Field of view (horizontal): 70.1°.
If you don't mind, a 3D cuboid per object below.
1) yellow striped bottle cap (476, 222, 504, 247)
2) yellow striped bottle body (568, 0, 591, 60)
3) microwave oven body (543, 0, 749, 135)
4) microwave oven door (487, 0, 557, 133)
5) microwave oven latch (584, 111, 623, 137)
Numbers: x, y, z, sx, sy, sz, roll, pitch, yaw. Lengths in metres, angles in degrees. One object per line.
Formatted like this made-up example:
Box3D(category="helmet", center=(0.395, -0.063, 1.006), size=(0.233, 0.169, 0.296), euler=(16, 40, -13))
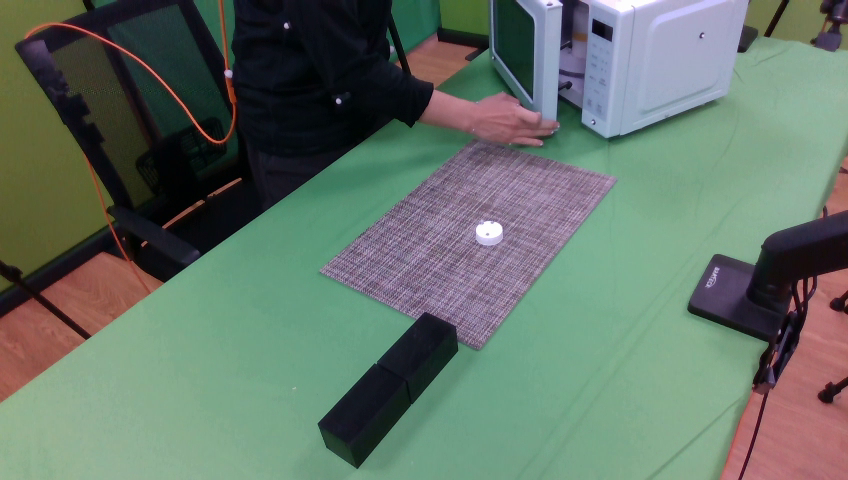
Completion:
Box3D(category="yellow striped bottle cap", center=(0.105, -0.010, 0.966), size=(0.044, 0.019, 0.044), euler=(-3, 39, 3))
Box3D(category="yellow striped bottle body", center=(0.337, -0.447, 1.269), size=(0.063, 0.121, 0.062), euler=(-4, 42, 4))
Box3D(category="microwave oven body", center=(0.381, -0.444, 1.246), size=(0.327, 0.261, 0.437), euler=(-22, 42, -16))
Box3D(category="microwave oven door", center=(0.193, -0.408, 1.223), size=(0.039, 0.245, 0.353), euler=(-12, 41, -6))
Box3D(category="microwave oven latch", center=(0.337, -0.222, 1.142), size=(0.030, 0.029, 0.078), euler=(-21, 42, -14))
